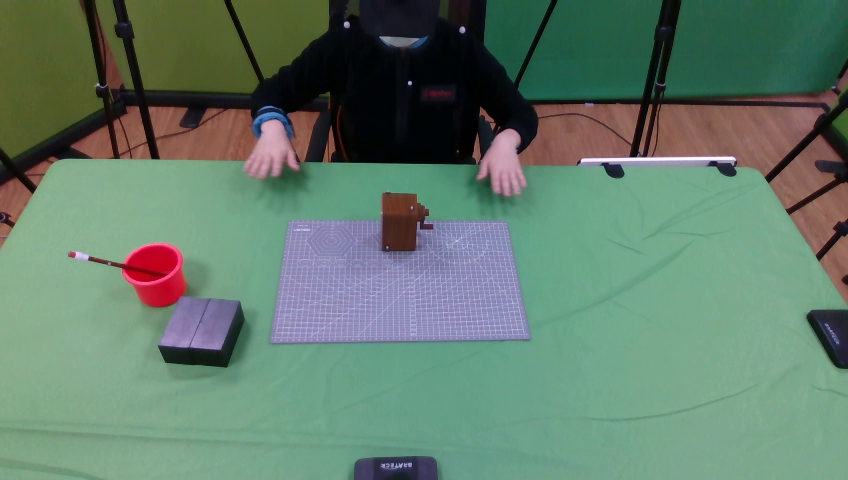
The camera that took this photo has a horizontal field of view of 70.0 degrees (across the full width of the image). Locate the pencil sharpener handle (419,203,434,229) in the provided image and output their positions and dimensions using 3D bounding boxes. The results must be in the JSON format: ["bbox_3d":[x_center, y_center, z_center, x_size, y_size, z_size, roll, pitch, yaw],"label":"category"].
[{"bbox_3d":[0.006,-0.045,1.160,0.031,0.068,0.036,0,52,-4],"label":"pencil sharpener handle"}]

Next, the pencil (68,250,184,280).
[{"bbox_3d":[-0.498,0.046,1.026,0.195,0.012,0.012,21,29,-45],"label":"pencil"}]

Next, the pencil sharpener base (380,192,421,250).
[{"bbox_3d":[-0.046,-0.035,1.163,0.077,0.107,0.061,0,46,-4],"label":"pencil sharpener base"}]
